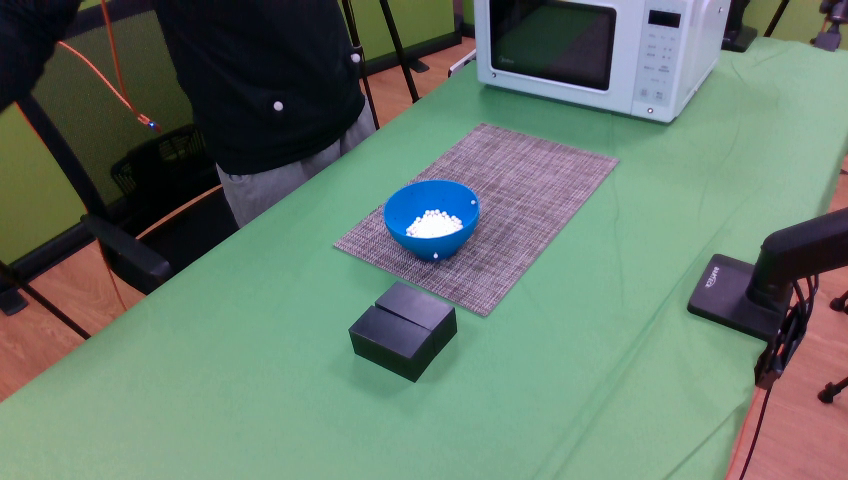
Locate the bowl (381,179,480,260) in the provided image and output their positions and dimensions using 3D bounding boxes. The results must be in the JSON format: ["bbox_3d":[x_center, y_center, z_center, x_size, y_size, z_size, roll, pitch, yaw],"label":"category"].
[{"bbox_3d":[0.014,-0.021,0.942,0.151,0.077,0.150,-4,40,4],"label":"bowl"}]

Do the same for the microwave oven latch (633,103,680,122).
[{"bbox_3d":[0.444,-0.249,1.157,0.078,0.029,0.030,21,48,30],"label":"microwave oven latch"}]

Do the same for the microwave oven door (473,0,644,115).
[{"bbox_3d":[0.257,-0.396,1.199,0.353,0.245,0.039,21,48,29],"label":"microwave oven door"}]

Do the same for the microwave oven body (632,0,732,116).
[{"bbox_3d":[0.377,-0.462,1.267,0.438,0.261,0.327,21,48,30],"label":"microwave oven body"}]
